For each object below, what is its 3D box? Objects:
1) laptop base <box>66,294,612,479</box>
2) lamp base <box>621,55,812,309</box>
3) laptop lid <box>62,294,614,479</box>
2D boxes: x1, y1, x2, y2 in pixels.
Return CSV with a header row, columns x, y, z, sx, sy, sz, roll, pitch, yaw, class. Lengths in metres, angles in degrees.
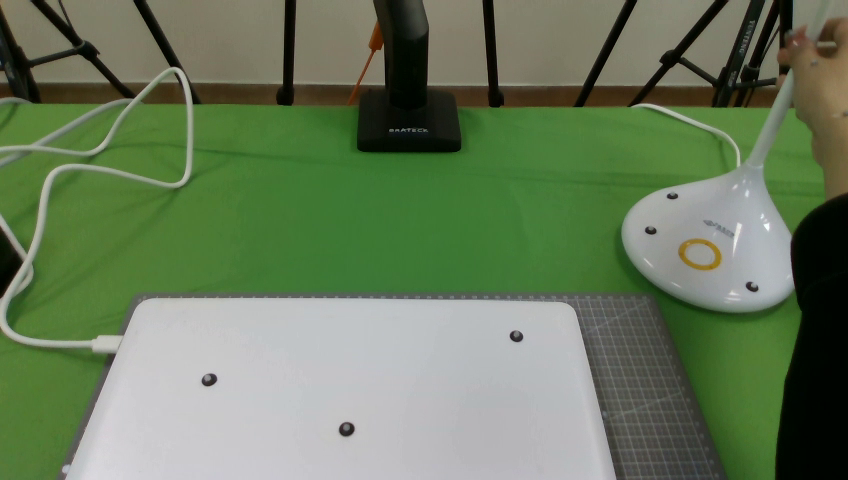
x,y,z,sx,sy,sz,roll,pitch,yaw,class
-0.053,0.135,0.421,0.354,0.023,0.233,1,47,-2,laptop base
0.276,-0.061,0.530,0.159,0.182,0.179,25,45,23,lamp base
-0.052,0.128,0.411,0.357,0.013,0.239,2,45,-1,laptop lid
